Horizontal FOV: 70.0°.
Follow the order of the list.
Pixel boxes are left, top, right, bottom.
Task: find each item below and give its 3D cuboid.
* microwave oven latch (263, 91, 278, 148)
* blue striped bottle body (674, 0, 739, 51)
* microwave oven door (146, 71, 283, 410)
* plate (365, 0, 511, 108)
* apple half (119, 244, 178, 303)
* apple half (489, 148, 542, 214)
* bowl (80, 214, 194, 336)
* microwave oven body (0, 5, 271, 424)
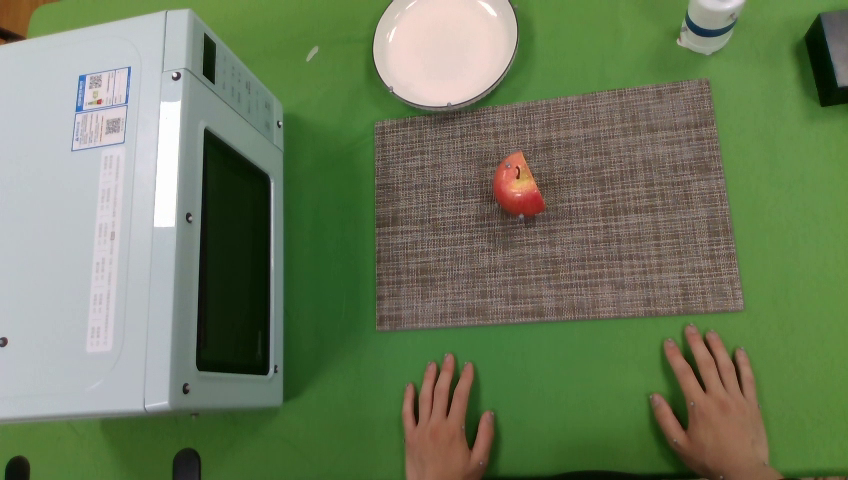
[{"bbox_3d":[-0.226,-0.171,0.867,0.030,0.030,0.078,-6,76,10],"label":"microwave oven latch"},{"bbox_3d":[0.350,-0.291,0.743,0.063,0.121,0.063,-3,75,12],"label":"blue striped bottle body"},{"bbox_3d":[-0.237,0.017,0.718,0.039,0.245,0.354,-7,75,11],"label":"microwave oven door"},{"bbox_3d":[0.021,-0.278,0.858,0.207,0.039,0.206,-3,77,11],"label":"plate"},{"bbox_3d":[-0.357,0.043,0.774,0.081,0.033,0.081,0,89,5],"label":"apple half"},{"bbox_3d":[0.110,-0.068,0.765,0.053,0.075,0.080,-25,76,10],"label":"apple half"},{"bbox_3d":[-0.355,0.046,0.784,0.151,0.077,0.151,-1,86,17],"label":"bowl"},{"bbox_3d":[-0.381,-0.006,0.761,0.325,0.262,0.439,-7,76,10],"label":"microwave oven body"}]
